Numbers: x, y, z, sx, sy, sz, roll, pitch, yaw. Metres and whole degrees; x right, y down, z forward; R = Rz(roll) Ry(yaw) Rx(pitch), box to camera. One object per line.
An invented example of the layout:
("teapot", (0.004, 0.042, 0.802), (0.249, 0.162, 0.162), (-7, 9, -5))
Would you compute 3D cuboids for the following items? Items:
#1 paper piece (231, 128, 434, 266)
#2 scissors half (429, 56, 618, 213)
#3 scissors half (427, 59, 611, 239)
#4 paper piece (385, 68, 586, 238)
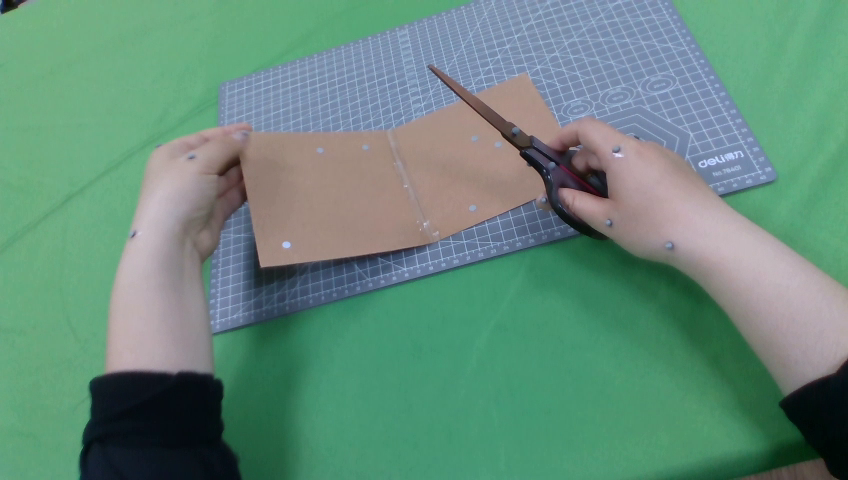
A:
("paper piece", (-0.077, -0.042, 0.492), (0.139, 0.009, 0.134), (-7, 53, -21))
("scissors half", (0.073, -0.076, 0.434), (0.176, 0.013, 0.039), (34, 49, -15))
("scissors half", (0.066, -0.063, 0.421), (0.175, 0.013, 0.040), (45, 41, -4))
("paper piece", (0.047, -0.079, 0.511), (0.135, 0.004, 0.134), (-23, 56, 2))
